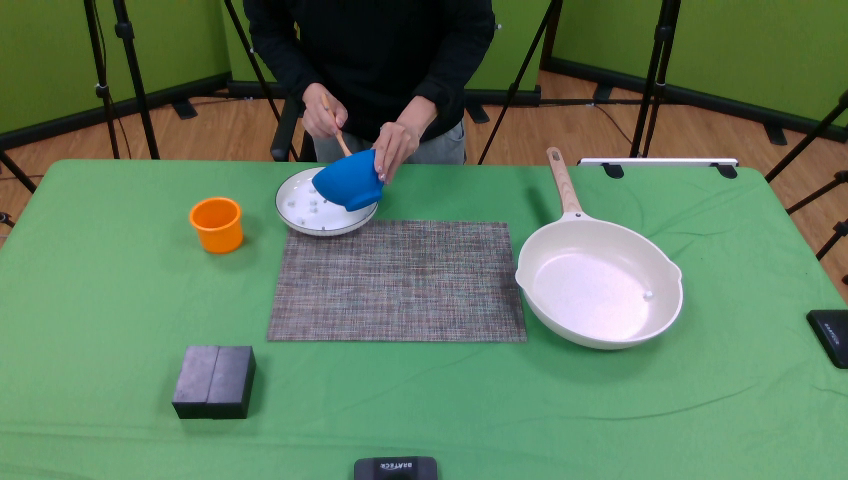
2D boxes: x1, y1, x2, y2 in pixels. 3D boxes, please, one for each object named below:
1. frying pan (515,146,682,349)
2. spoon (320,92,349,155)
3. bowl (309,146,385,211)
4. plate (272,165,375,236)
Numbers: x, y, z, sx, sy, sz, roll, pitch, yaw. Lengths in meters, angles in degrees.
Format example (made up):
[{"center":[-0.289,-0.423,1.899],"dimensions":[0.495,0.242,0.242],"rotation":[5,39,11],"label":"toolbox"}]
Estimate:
[{"center":[0.303,-0.004,1.168],"dimensions":[0.307,0.103,0.484],"rotation":[-2,55,-7],"label":"frying pan"},{"center":[-0.153,-0.180,1.112],"dimensions":[0.041,0.021,0.193],"rotation":[-24,88,-35],"label":"spoon"},{"center":[-0.130,-0.105,1.132],"dimensions":[0.151,0.151,0.076],"rotation":[-24,86,-25],"label":"bowl"},{"center":[-0.204,-0.076,1.240],"dimensions":[0.208,0.039,0.206],"rotation":[3,44,-2],"label":"plate"}]
